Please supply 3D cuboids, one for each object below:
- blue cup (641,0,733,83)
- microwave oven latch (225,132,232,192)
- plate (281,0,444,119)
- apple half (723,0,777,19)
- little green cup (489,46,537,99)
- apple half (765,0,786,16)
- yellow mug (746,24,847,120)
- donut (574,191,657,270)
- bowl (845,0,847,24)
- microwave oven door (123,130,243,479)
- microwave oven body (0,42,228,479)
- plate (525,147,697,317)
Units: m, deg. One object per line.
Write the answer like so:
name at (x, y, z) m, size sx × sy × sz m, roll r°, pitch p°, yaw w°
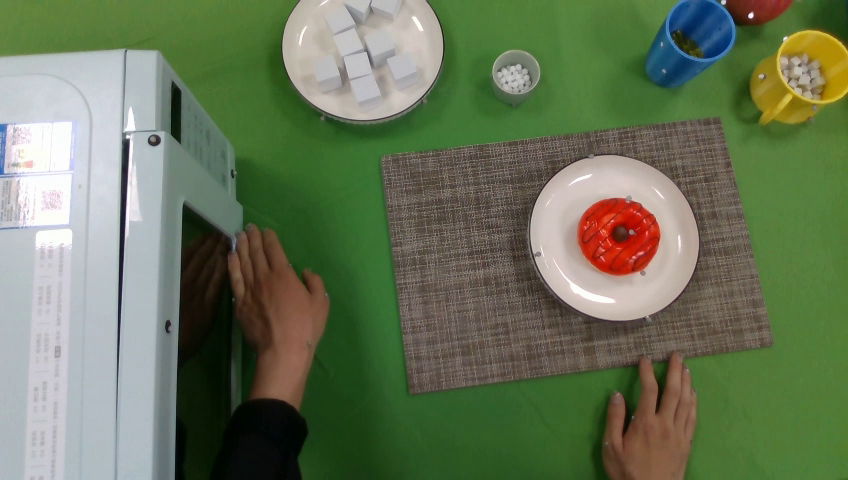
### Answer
blue cup at (0.322, -0.247, 0.765) m, size 0.093 × 0.100 × 0.092 m, roll 0°, pitch 80°, yaw -2°
microwave oven latch at (-0.248, -0.091, 0.732) m, size 0.030 × 0.029 × 0.079 m, roll -2°, pitch 80°, yaw -2°
plate at (-0.078, -0.250, 0.787) m, size 0.208 × 0.039 × 0.206 m, roll 0°, pitch 79°, yaw -1°
apple half at (0.425, -0.334, 0.799) m, size 0.053 × 0.075 × 0.080 m, roll -2°, pitch 82°, yaw 2°
little green cup at (0.113, -0.215, 0.785) m, size 0.061 × 0.039 × 0.061 m, roll 0°, pitch 79°, yaw -1°
apple half at (0.465, -0.336, 0.798) m, size 0.033 × 0.081 × 0.081 m, roll -2°, pitch 78°, yaw 1°
yellow mug at (0.472, -0.205, 0.778) m, size 0.099 × 0.064 × 0.130 m, roll 40°, pitch 82°, yaw 6°
donut at (0.231, -0.012, 0.733) m, size 0.099 × 0.048 × 0.098 m, roll 0°, pitch 79°, yaw 0°
bowl at (0.618, -0.316, 0.798) m, size 0.151 × 0.077 × 0.150 m, roll 0°, pitch 80°, yaw -1°
microwave oven door at (-0.226, 0.103, 0.591) m, size 0.039 × 0.244 × 0.354 m, roll -3°, pitch 79°, yaw -2°
microwave oven body at (-0.380, 0.073, 0.598) m, size 0.326 × 0.261 × 0.439 m, roll -4°, pitch 80°, yaw -3°
plate at (0.226, -0.009, 0.744) m, size 0.209 × 0.038 × 0.208 m, roll 0°, pitch 79°, yaw -1°
